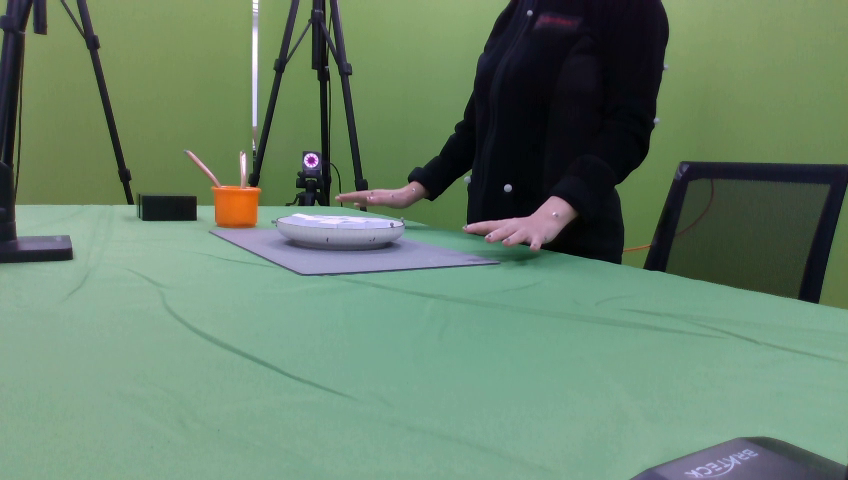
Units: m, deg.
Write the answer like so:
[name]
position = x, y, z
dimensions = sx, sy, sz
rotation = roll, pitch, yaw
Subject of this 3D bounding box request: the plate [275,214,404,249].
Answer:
[plate]
position = -0.136, -0.013, 0.982
dimensions = 0.208, 0.039, 0.207
rotation = 3, 7, 0

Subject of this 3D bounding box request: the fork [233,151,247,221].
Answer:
[fork]
position = -0.366, -0.112, 1.215
dimensions = 0.028, 0.018, 0.206
rotation = 16, 44, -29

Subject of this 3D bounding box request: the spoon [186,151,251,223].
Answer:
[spoon]
position = -0.401, -0.103, 1.176
dimensions = 0.021, 0.193, 0.042
rotation = -42, -9, 25
